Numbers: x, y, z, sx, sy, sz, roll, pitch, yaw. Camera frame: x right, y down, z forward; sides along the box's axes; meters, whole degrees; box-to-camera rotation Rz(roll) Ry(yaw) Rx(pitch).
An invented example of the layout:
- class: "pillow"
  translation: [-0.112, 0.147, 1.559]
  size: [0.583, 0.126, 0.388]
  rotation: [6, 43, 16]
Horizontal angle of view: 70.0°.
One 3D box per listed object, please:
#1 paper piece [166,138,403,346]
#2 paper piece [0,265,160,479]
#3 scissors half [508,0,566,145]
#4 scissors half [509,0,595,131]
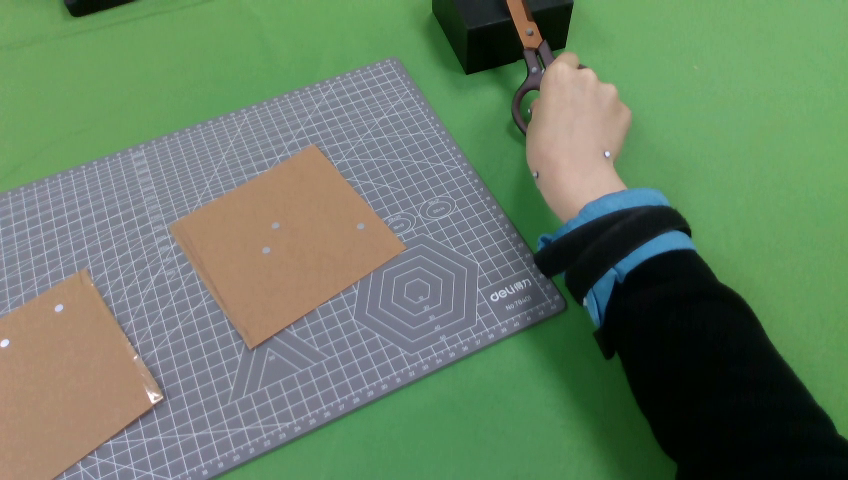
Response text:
- class: "paper piece"
  translation: [-0.108, -0.006, 0.462]
  size: [0.136, 0.004, 0.134]
  rotation: [-33, 63, -17]
- class: "paper piece"
  translation: [-0.265, 0.096, 0.403]
  size: [0.138, 0.009, 0.134]
  rotation: [-36, 59, -17]
- class: "scissors half"
  translation: [0.085, -0.163, 0.519]
  size: [0.040, 0.013, 0.174]
  rotation: [-17, 80, 29]
- class: "scissors half"
  translation: [0.099, -0.170, 0.509]
  size: [0.040, 0.013, 0.174]
  rotation: [-33, 72, 31]
